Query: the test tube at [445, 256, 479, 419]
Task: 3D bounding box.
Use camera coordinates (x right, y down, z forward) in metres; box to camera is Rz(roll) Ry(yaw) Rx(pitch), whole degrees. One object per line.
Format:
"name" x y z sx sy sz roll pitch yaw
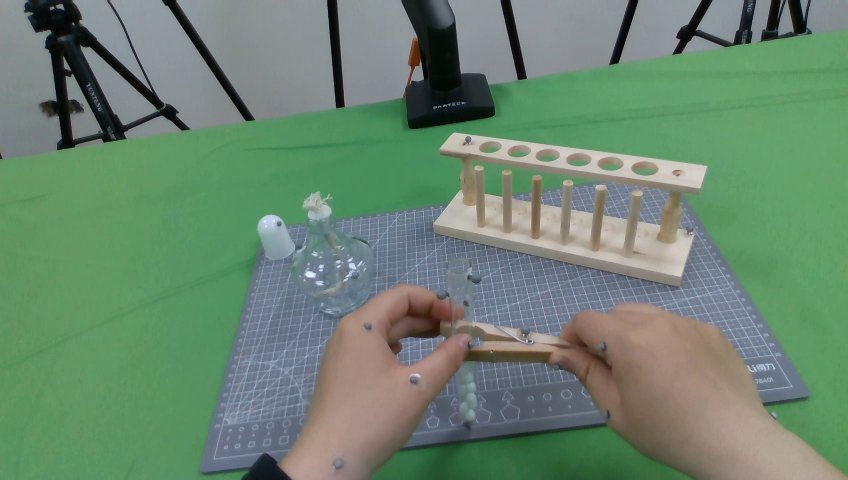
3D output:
"test tube" 0.027 0.071 0.401 0.017 0.151 0.017 -4 39 3

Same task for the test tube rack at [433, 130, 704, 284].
"test tube rack" 0.125 -0.037 0.575 0.241 0.086 0.066 13 45 26

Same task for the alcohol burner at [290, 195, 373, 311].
"alcohol burner" -0.086 0.007 0.544 0.078 0.120 0.077 -5 41 4

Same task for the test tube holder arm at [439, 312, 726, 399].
"test tube holder arm" 0.096 0.072 0.384 0.178 0.015 0.013 11 46 12

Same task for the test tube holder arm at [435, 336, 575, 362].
"test tube holder arm" 0.051 0.070 0.387 0.088 0.015 0.010 1 44 2

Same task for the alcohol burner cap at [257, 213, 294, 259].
"alcohol burner cap" -0.157 -0.007 0.635 0.034 0.048 0.033 -5 40 5
